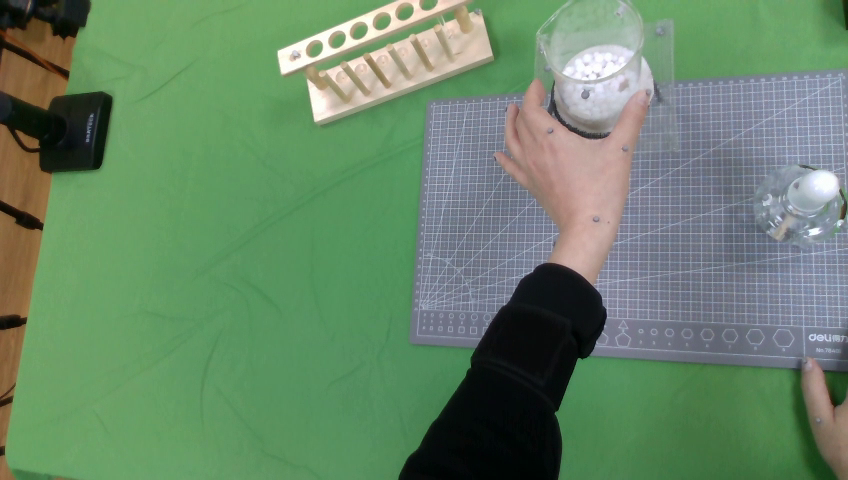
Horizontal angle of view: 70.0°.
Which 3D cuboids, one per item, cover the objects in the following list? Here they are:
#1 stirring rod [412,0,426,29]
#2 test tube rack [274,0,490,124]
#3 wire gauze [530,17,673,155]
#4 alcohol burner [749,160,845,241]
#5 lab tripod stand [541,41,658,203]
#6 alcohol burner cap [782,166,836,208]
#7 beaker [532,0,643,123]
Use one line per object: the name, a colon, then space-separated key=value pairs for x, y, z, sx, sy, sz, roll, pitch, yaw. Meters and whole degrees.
stirring rod: x=-0.021 y=-0.287 z=0.652 sx=0.006 sy=0.177 sz=0.014 roll=-16 pitch=69 yaw=9
test tube rack: x=-0.051 y=-0.224 z=0.734 sx=0.242 sy=0.086 sz=0.066 roll=-17 pitch=74 yaw=15
wire gauze: x=0.158 y=-0.136 z=0.546 sx=0.125 sy=0.011 sz=0.121 roll=0 pitch=83 yaw=16
alcohol burner: x=0.340 y=-0.040 z=0.547 sx=0.077 sy=0.120 sz=0.077 roll=-3 pitch=78 yaw=17
lab tripod stand: x=0.178 y=-0.122 z=0.607 sx=0.148 sy=0.132 sz=0.148 roll=-3 pitch=79 yaw=17
alcohol burner cap: x=0.328 y=-0.047 z=0.513 sx=0.034 sy=0.048 sz=0.034 roll=-2 pitch=82 yaw=15
beaker: x=0.137 y=-0.146 z=0.503 sx=0.083 sy=0.101 sz=0.074 roll=14 pitch=85 yaw=21
